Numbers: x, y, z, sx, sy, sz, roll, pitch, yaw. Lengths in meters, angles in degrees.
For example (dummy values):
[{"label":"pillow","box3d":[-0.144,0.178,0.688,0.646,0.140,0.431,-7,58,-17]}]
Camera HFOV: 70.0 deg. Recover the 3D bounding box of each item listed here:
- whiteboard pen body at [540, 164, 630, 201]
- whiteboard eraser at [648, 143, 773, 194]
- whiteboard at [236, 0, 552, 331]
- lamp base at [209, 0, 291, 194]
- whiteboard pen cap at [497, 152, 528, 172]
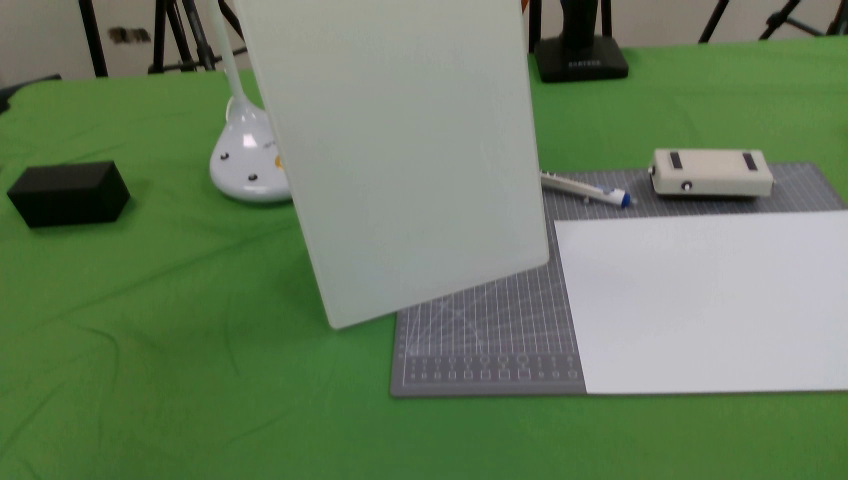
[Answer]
[{"label":"whiteboard pen body","box3d":[0.151,-0.067,0.654,0.140,0.017,0.017,18,47,20]},{"label":"whiteboard eraser","box3d":[0.295,-0.073,0.631,0.112,0.042,0.055,1,41,7]},{"label":"whiteboard","box3d":[-0.026,-0.110,0.555,0.217,0.307,0.142,-16,24,-11]},{"label":"lamp base","box3d":[-0.191,-0.168,0.685,0.177,0.182,0.160,29,52,35]},{"label":"whiteboard pen cap","box3d":[0.099,-0.086,0.674,0.033,0.018,0.018,18,47,18]}]
